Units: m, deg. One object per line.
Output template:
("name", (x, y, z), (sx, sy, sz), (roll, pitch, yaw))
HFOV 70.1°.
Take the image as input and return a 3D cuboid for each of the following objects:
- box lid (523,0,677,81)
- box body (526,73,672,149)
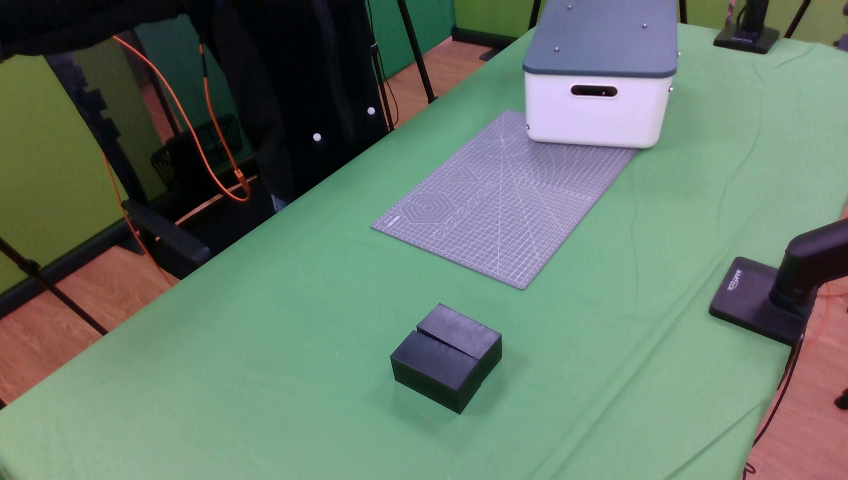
("box lid", (0.347, -0.397, 1.162), (0.262, 0.015, 0.371), (7, 42, 16))
("box body", (0.356, -0.342, 1.212), (0.253, 0.161, 0.363), (7, 42, 17))
